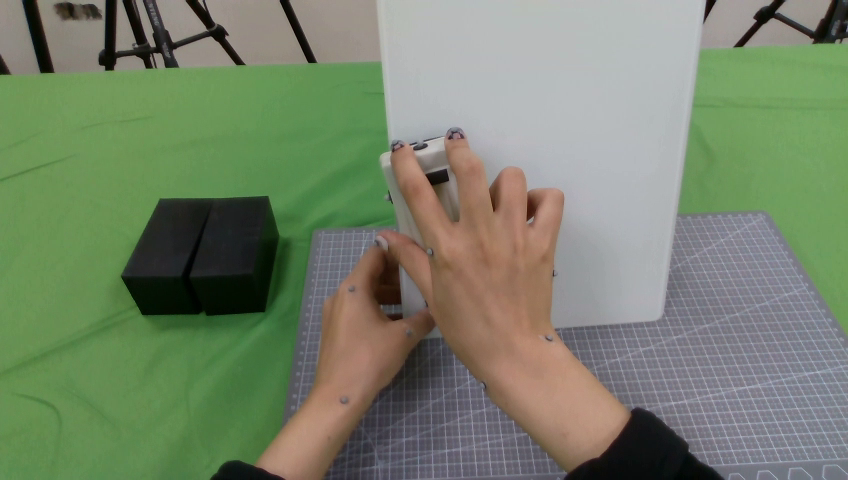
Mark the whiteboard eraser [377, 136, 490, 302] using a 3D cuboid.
[{"bbox_3d":[0.008,-0.014,0.432,0.055,0.113,0.041,-17,23,0],"label":"whiteboard eraser"}]

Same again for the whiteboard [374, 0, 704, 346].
[{"bbox_3d":[0.079,-0.087,0.497,0.217,0.307,0.142,-4,25,-1],"label":"whiteboard"}]
